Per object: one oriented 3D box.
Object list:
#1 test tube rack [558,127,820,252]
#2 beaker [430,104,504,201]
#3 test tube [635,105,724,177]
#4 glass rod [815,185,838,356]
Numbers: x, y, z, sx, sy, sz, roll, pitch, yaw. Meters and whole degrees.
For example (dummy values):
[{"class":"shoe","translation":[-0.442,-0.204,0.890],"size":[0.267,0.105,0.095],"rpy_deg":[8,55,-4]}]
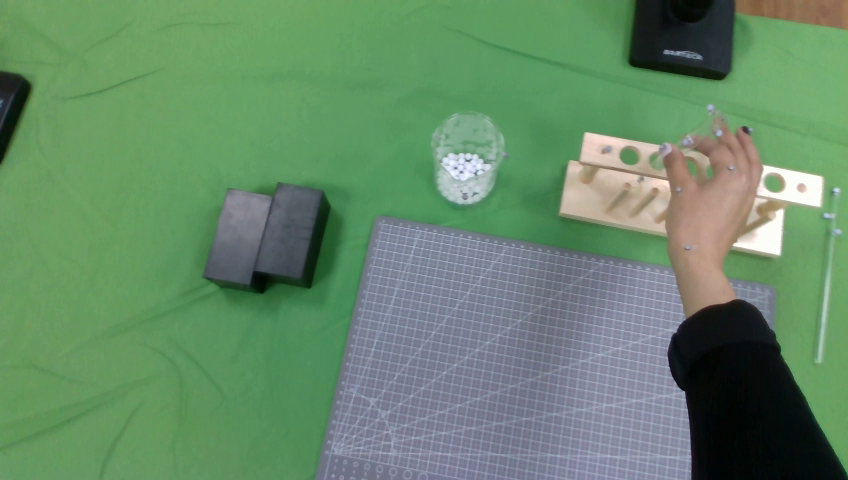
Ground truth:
[{"class":"test tube rack","translation":[0.277,-0.052,0.652],"size":[0.242,0.085,0.066],"rpy_deg":[11,75,4]},{"class":"beaker","translation":[0.043,-0.087,0.656],"size":[0.074,0.101,0.083],"rpy_deg":[13,76,5]},{"class":"test tube","translation":[0.241,-0.091,0.585],"size":[0.017,0.150,0.017],"rpy_deg":[1,76,-5]},{"class":"glass rod","translation":[0.444,0.031,0.668],"size":[0.008,0.008,0.199],"rpy_deg":[14,76,4]}]
